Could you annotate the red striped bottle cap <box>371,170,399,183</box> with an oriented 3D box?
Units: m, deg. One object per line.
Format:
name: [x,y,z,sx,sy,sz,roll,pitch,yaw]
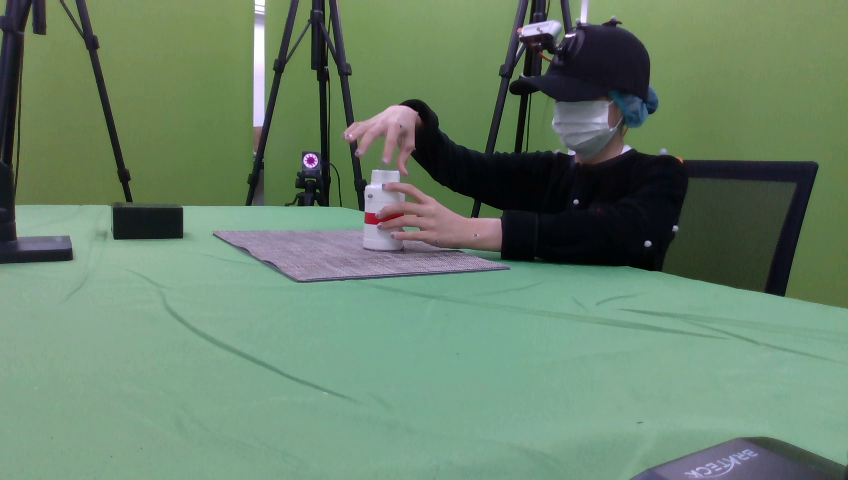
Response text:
red striped bottle cap: [-0.059,-0.098,0.926,0.044,0.017,0.044,3,10,0]

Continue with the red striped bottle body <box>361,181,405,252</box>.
red striped bottle body: [-0.063,-0.044,0.933,0.063,0.119,0.063,4,7,0]
